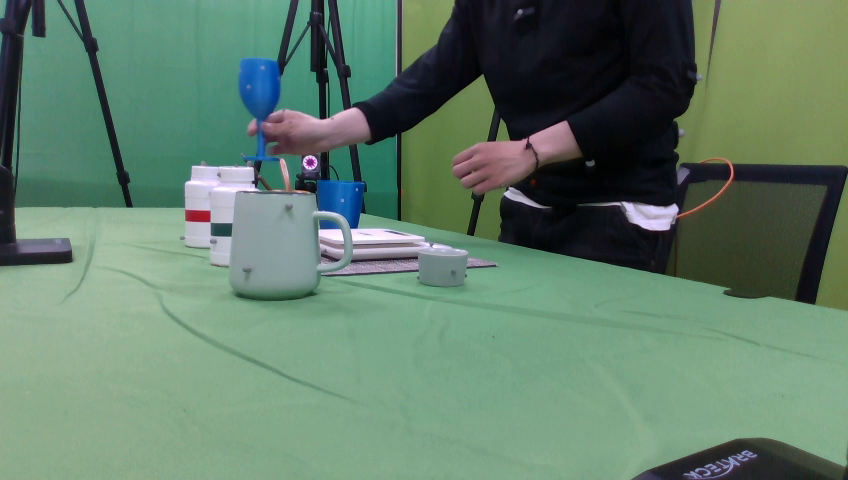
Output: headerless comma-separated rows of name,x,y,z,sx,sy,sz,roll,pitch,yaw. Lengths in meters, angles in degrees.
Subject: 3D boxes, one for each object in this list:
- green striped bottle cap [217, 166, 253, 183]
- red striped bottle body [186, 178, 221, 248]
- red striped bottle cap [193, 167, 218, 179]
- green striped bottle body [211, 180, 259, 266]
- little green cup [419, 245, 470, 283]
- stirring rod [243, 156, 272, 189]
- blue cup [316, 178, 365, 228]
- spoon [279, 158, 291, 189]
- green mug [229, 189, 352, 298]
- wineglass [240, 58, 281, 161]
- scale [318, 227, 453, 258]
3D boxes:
green striped bottle cap,-0.242,-0.085,0.777,0.044,0.020,0.044,2,9,0
red striped bottle body,-0.331,-0.050,0.927,0.063,0.119,0.063,1,6,0
red striped bottle cap,-0.329,-0.103,0.921,0.044,0.017,0.044,0,9,0
green striped bottle body,-0.243,-0.029,0.784,0.063,0.119,0.063,2,7,0
little green cup,0.023,0.028,0.712,0.061,0.038,0.061,2,6,0
stirring rod,-0.304,-0.099,1.201,0.006,0.177,0.014,-27,37,7
blue cup,-0.149,-0.057,1.072,0.093,0.100,0.092,3,8,0
spoon,-0.280,-0.102,1.251,0.042,0.193,0.021,7,-40,-29
green mug,-0.135,0.002,0.618,0.125,0.105,0.092,2,7,4
wineglass,-0.288,-0.228,1.069,0.074,0.172,0.073,1,6,0
scale,-0.066,0.001,0.906,0.202,0.031,0.148,-2,8,-31
